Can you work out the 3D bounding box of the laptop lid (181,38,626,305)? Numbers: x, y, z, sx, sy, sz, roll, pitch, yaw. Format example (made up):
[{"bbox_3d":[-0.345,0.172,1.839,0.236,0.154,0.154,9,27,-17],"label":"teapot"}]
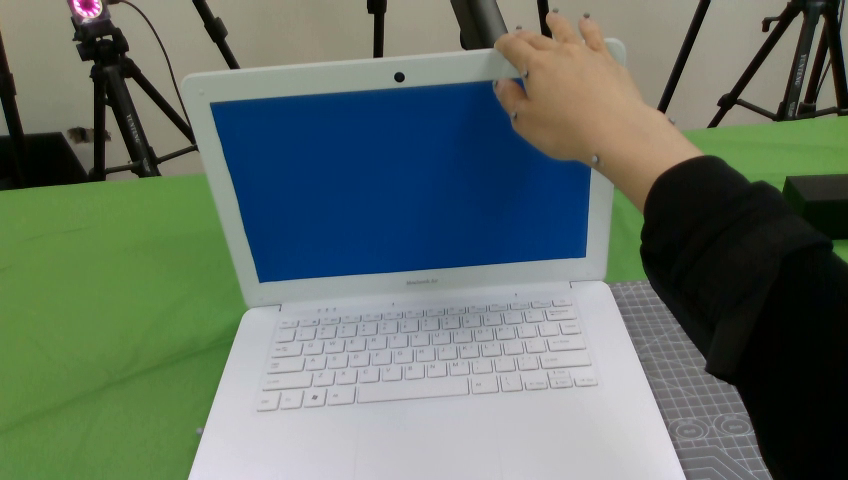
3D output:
[{"bbox_3d":[-0.009,-0.044,0.533,0.356,0.244,0.013,-6,33,3],"label":"laptop lid"}]

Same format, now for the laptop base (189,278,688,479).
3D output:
[{"bbox_3d":[0.003,0.125,0.499,0.354,0.023,0.233,-5,38,2],"label":"laptop base"}]
